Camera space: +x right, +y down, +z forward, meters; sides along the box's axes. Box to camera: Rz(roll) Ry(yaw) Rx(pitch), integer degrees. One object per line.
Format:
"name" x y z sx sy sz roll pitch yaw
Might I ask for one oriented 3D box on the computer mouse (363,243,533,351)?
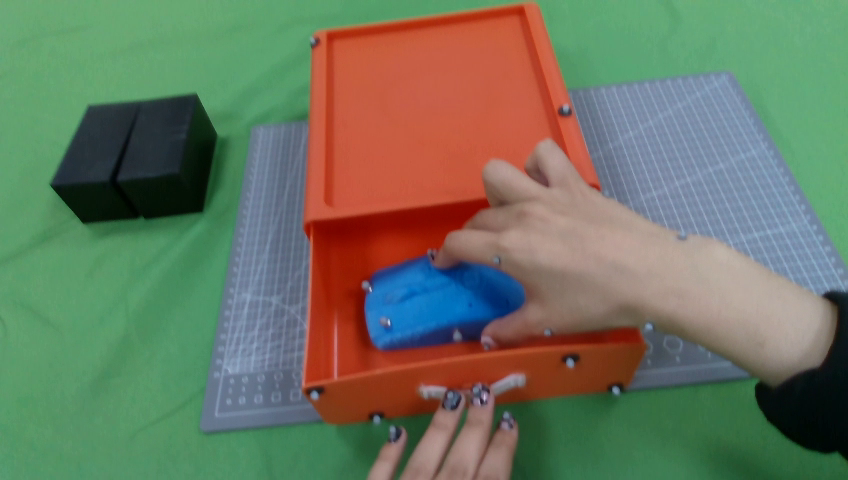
"computer mouse" 0.015 0.038 0.414 0.117 0.041 0.062 -9 58 6

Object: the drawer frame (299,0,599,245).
"drawer frame" 0.010 -0.086 0.482 0.202 0.083 0.211 -8 54 1

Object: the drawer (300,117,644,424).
"drawer" 0.021 0.008 0.417 0.194 0.074 0.209 -8 54 2
